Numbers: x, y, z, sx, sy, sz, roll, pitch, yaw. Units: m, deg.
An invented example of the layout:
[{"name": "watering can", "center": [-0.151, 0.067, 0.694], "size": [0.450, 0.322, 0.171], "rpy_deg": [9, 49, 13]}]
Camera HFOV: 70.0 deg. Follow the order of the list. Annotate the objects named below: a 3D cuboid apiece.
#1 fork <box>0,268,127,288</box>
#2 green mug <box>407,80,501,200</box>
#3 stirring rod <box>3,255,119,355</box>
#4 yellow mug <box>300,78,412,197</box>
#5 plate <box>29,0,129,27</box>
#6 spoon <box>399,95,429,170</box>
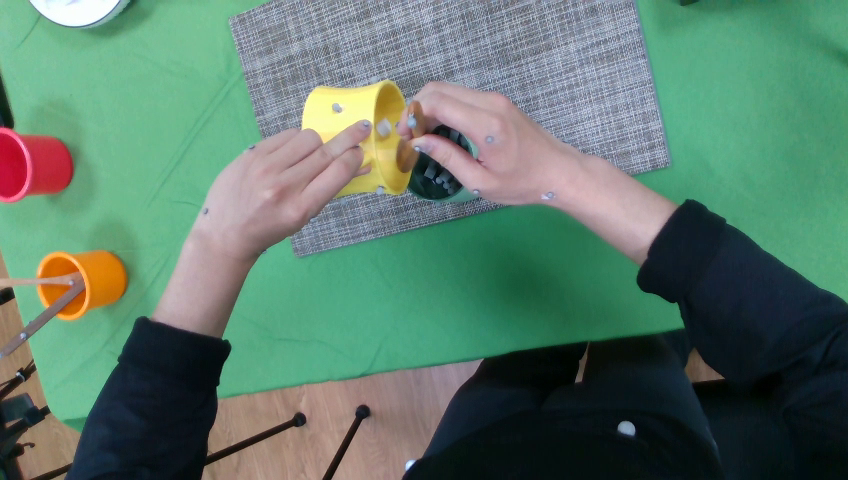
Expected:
[{"name": "fork", "center": [-0.511, 0.054, 0.805], "size": [0.208, 0.018, 0.028], "rpy_deg": [-2, 98, -26]}, {"name": "green mug", "center": [0.027, -0.102, 0.628], "size": [0.092, 0.105, 0.125], "rpy_deg": [4, 100, 18]}, {"name": "stirring rod", "center": [-0.480, 0.084, 0.806], "size": [0.014, 0.006, 0.175], "rpy_deg": [37, 66, 8]}, {"name": "yellow mug", "center": [-0.061, -0.082, 0.526], "size": [0.064, 0.130, 0.101], "rpy_deg": [-2, 118, 19]}, {"name": "plate", "center": [-0.435, -0.377, 0.769], "size": [0.207, 0.039, 0.208], "rpy_deg": [3, 100, 17]}, {"name": "spoon", "center": [-0.005, -0.084, 0.472], "size": [0.022, 0.193, 0.041], "rpy_deg": [24, 87, -4]}]
